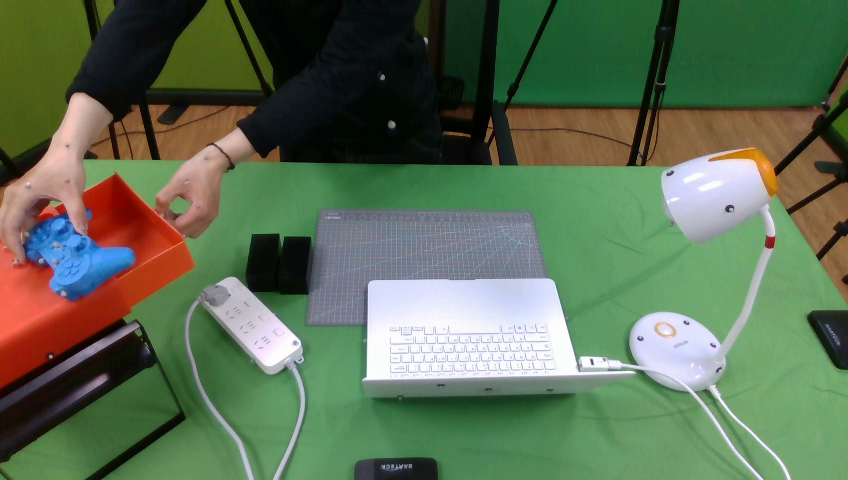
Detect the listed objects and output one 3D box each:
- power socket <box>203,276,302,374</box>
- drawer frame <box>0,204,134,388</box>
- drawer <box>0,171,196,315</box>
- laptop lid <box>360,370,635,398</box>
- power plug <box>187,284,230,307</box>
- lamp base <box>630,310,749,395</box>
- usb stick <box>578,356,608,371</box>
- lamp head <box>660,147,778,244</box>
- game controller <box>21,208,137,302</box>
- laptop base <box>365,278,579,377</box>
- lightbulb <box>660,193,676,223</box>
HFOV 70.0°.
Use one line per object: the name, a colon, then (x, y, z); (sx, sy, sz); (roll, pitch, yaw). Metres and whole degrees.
power socket: (-0.297, 0.141, 1.034); (0.072, 0.033, 0.225); (-34, 58, -31)
drawer frame: (-0.536, 0.074, 0.797); (0.200, 0.083, 0.213); (36, 54, 26)
drawer: (-0.466, 0.020, 0.847); (0.193, 0.073, 0.211); (37, 58, 26)
laptop lid: (0.090, 0.208, 0.863); (0.357, 0.242, 0.013); (0, 71, -6)
power plug: (-0.369, 0.100, 1.036); (0.072, 0.053, 0.035); (-26, 53, -23)
lamp base: (0.447, 0.142, 0.984); (0.161, 0.181, 0.178); (-24, 55, -24)
usb stick: (0.273, 0.207, 1.007); (0.059, 0.027, 0.021); (0, 51, 0)
lamp head: (0.389, -0.063, 0.784); (0.123, 0.113, 0.112); (-22, 33, 37)
game controller: (-0.448, 0.012, 0.774); (0.154, 0.052, 0.097); (32, 69, 32)
laptop base: (0.076, 0.162, 1.053); (0.355, 0.023, 0.234); (0, 44, -4)
lightbulb: (0.366, -0.060, 0.806); (0.060, 0.107, 0.059); (16, 61, -32)
